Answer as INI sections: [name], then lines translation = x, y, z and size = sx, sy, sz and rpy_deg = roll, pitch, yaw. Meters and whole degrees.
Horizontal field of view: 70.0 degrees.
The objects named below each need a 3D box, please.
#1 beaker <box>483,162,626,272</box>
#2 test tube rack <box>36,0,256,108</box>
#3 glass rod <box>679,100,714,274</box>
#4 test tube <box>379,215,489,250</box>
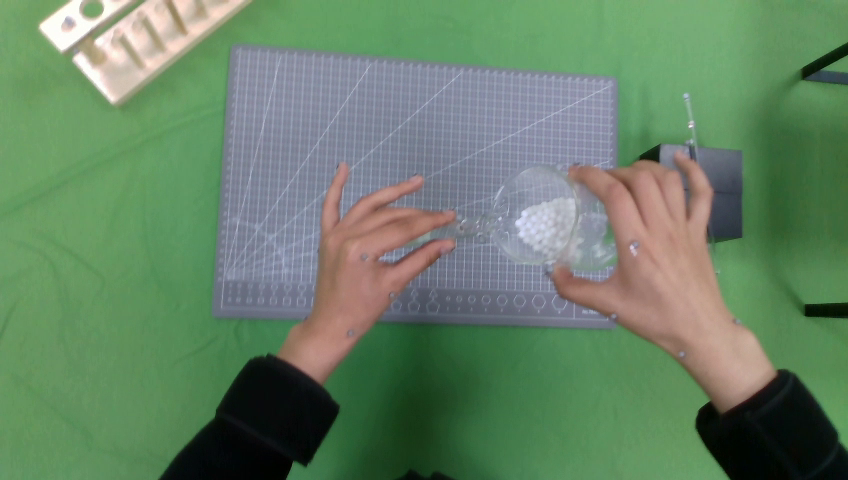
[beaker]
translation = 0.106, -0.013, 0.475
size = 0.101, 0.083, 0.073
rpy_deg = 11, 75, -49
[test tube rack]
translation = -0.263, -0.251, 0.634
size = 0.242, 0.085, 0.067
rpy_deg = -43, 89, -10
[glass rod]
translation = 0.306, -0.061, 0.679
size = 0.008, 0.008, 0.199
rpy_deg = -7, 85, -8
[test tube]
translation = 0.003, -0.005, 0.526
size = 0.017, 0.149, 0.017
rpy_deg = 4, 82, -35
